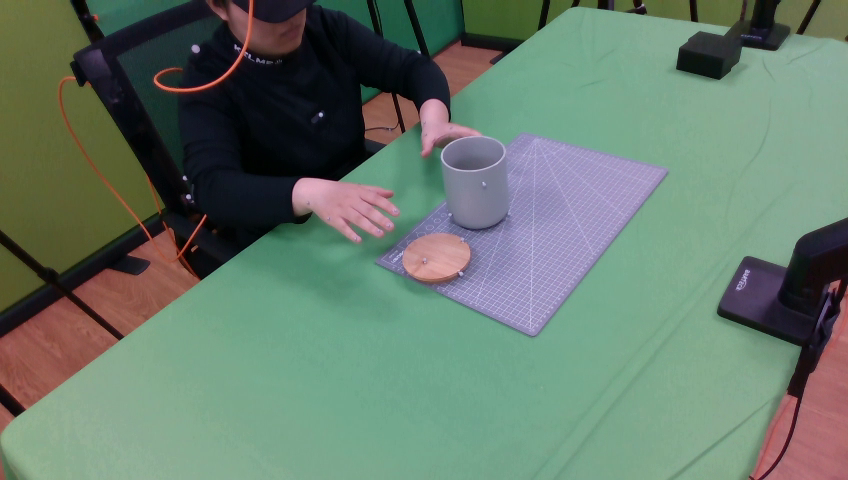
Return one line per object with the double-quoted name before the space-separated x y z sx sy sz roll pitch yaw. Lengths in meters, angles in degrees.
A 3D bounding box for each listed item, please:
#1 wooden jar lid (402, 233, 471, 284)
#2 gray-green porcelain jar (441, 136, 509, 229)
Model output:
"wooden jar lid" 0.020 0.030 0.941 0.108 0.021 0.108 -4 40 4
"gray-green porcelain jar" 0.086 -0.090 0.988 0.106 0.127 0.105 -5 40 5
